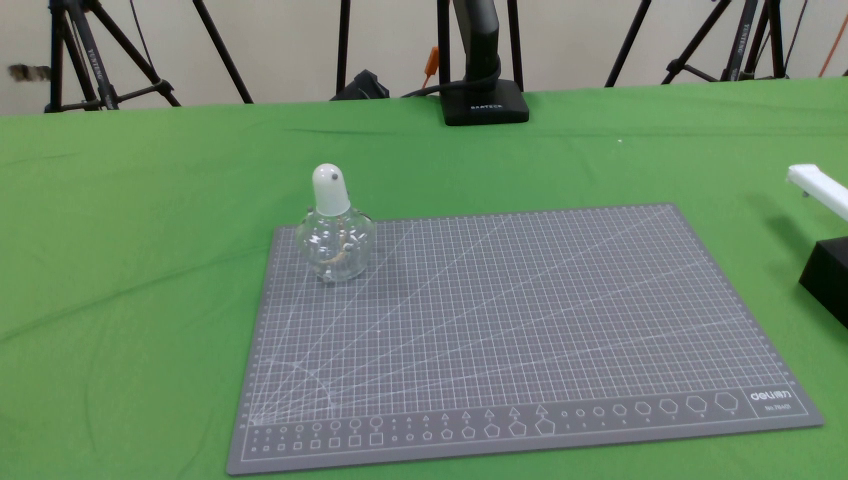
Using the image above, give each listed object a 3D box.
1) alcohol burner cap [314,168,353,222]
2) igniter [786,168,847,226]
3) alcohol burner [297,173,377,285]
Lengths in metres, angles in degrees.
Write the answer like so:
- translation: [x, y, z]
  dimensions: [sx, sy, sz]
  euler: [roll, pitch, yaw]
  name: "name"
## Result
- translation: [-0.084, -0.044, 0.556]
  dimensions: [0.034, 0.048, 0.033]
  euler: [-2, 39, 2]
  name: "alcohol burner cap"
- translation: [0.422, 0.004, 0.540]
  dimensions: [0.057, 0.025, 0.273]
  euler: [-5, 33, -5]
  name: "igniter"
- translation: [-0.084, -0.015, 0.578]
  dimensions: [0.078, 0.120, 0.077]
  euler: [1, 39, 0]
  name: "alcohol burner"
